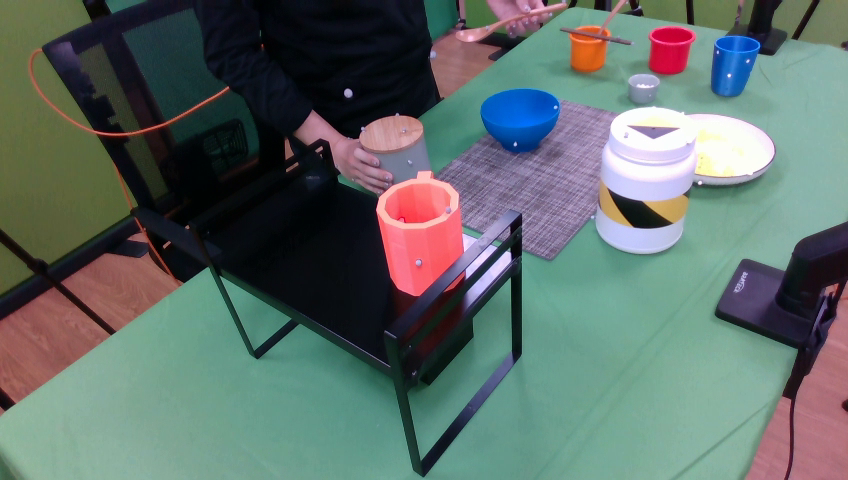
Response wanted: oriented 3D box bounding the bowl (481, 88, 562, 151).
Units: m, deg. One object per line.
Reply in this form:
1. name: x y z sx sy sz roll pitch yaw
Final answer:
1. bowl: 0.187 -0.223 1.162 0.151 0.077 0.150 -4 40 4

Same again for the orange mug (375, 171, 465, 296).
1. orange mug: 0.000 -0.016 0.661 0.083 0.101 0.125 -2 45 8

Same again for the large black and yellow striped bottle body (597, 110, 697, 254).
1. large black and yellow striped bottle body: 0.331 -0.086 0.904 0.131 0.185 0.130 -5 41 4

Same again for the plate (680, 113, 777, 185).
1. plate: 0.506 -0.158 1.073 0.209 0.038 0.208 -5 40 4

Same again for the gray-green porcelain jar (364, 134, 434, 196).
1. gray-green porcelain jar: -0.040 -0.127 1.050 0.106 0.127 0.105 -8 40 7

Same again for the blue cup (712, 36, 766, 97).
1. blue cup: 0.627 -0.350 1.227 0.092 0.100 0.092 -4 39 4

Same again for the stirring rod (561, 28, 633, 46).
1. stirring rod: 0.382 -0.453 1.345 0.174 0.006 0.014 27 53 33

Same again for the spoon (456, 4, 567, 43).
1. spoon: 0.150 -0.375 1.043 0.193 0.022 0.041 -15 42 15

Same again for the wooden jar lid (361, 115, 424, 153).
1. wooden jar lid: -0.052 -0.173 1.011 0.108 0.021 0.108 -6 40 6

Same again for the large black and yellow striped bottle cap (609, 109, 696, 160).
1. large black and yellow striped bottle cap: 0.319 -0.150 0.849 0.115 0.019 0.114 -4 40 3

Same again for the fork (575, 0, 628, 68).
1. fork: 0.413 -0.481 1.377 0.207 0.019 0.028 -57 43 12

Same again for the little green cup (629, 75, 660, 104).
1. little green cup: 0.457 -0.314 1.260 0.061 0.039 0.061 -4 40 4
